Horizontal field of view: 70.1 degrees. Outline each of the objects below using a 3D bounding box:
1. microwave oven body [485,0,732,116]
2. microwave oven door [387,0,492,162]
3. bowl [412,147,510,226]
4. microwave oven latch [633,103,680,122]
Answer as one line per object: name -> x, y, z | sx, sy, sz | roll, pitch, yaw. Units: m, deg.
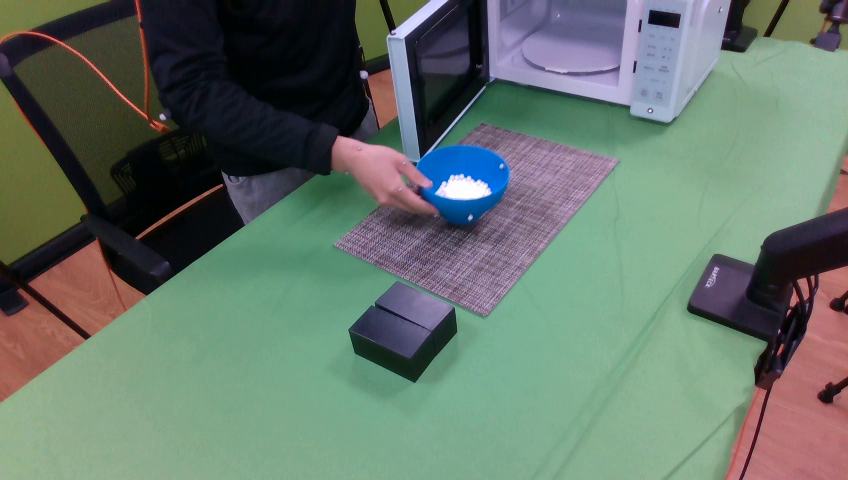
microwave oven body -> 0.377, -0.462, 1.267 | 0.438, 0.261, 0.327 | 21, 49, 30
microwave oven door -> 0.044, -0.346, 1.171 | 0.039, 0.245, 0.356 | 14, 45, 24
bowl -> 0.057, -0.075, 0.962 | 0.151, 0.077, 0.150 | 0, 41, 1
microwave oven latch -> 0.443, -0.249, 1.157 | 0.078, 0.029, 0.030 | 21, 48, 30
